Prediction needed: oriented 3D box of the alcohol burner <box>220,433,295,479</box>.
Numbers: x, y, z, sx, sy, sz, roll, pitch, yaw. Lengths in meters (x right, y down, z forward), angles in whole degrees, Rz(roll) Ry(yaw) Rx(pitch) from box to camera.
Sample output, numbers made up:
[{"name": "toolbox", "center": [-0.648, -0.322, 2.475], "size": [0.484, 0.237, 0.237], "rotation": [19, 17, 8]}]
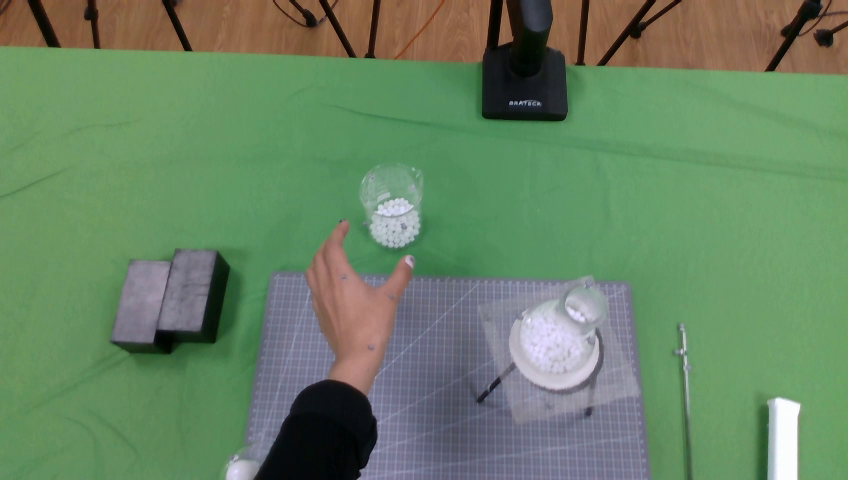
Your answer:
[{"name": "alcohol burner", "center": [-0.172, 0.234, 0.613], "size": [0.078, 0.120, 0.077], "rotation": [1, 68, -1]}]

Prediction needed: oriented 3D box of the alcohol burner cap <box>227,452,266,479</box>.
[{"name": "alcohol burner cap", "center": [-0.171, 0.218, 0.580], "size": [0.034, 0.048, 0.033], "rotation": [2, 64, -5]}]

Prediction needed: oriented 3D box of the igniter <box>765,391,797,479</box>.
[{"name": "igniter", "center": [0.373, 0.298, 0.638], "size": [0.057, 0.025, 0.275], "rotation": [18, 67, -4]}]

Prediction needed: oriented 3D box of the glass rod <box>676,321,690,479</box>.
[{"name": "glass rod", "center": [0.297, 0.189, 0.695], "size": [0.008, 0.008, 0.198], "rotation": [6, 66, 2]}]

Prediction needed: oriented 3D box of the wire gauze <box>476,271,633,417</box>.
[{"name": "wire gauze", "center": [0.127, 0.099, 0.590], "size": [0.125, 0.011, 0.120], "rotation": [-13, 70, -8]}]

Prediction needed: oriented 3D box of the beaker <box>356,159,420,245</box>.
[{"name": "beaker", "center": [-0.039, -0.044, 0.746], "size": [0.084, 0.101, 0.073], "rotation": [-37, 71, -15]}]

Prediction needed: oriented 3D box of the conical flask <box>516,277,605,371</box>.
[{"name": "conical flask", "center": [0.126, 0.070, 0.538], "size": [0.075, 0.122, 0.075], "rotation": [0, 68, 0]}]

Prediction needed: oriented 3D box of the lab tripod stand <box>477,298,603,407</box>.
[{"name": "lab tripod stand", "center": [0.128, 0.127, 0.650], "size": [0.148, 0.132, 0.147], "rotation": [0, 68, 1]}]
